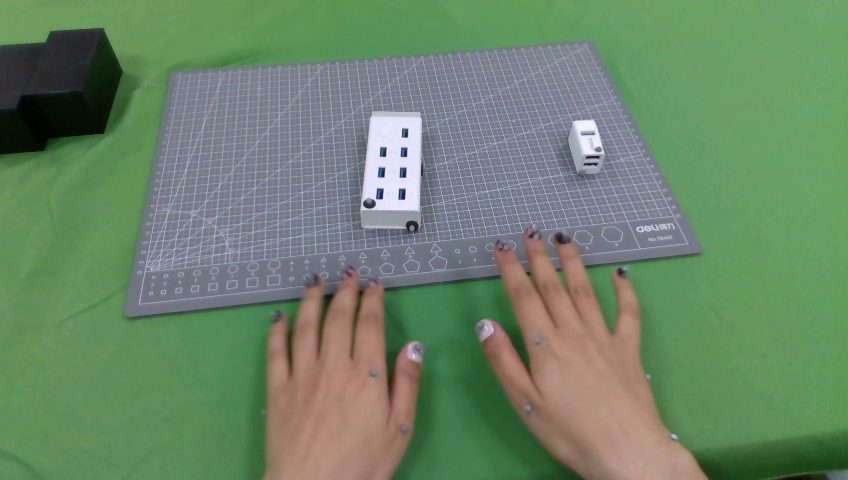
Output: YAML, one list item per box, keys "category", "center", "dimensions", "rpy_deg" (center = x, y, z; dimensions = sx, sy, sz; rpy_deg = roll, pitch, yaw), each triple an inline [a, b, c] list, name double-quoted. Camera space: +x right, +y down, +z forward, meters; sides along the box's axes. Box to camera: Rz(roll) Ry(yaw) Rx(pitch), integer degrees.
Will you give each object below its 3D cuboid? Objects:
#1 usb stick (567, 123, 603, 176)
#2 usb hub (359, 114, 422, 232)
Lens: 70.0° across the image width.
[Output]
- category: "usb stick"
  center: [0.145, -0.087, 0.551]
  dimensions: [0.021, 0.027, 0.058]
  rpy_deg: [-3, 49, -1]
- category: "usb hub"
  center: [-0.028, -0.062, 0.530]
  dimensions: [0.049, 0.025, 0.124]
  rpy_deg: [1, 51, 0]
